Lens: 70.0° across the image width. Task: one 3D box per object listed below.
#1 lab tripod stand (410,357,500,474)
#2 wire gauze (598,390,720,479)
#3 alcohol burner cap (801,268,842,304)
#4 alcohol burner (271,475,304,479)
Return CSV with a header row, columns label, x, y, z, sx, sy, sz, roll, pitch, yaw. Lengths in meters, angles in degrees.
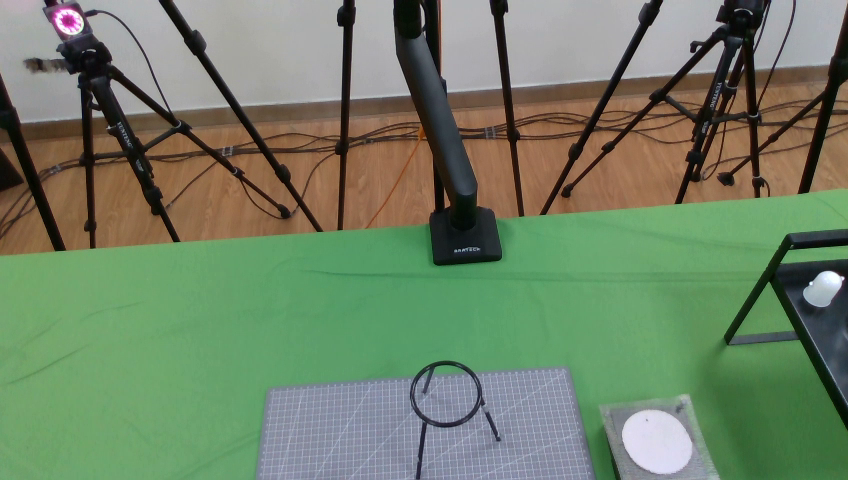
label,x,y,z,sx,sy,sz,roll,pitch,yaw
lab tripod stand,0.027,0.222,0.796,0.148,0.133,0.147,-2,50,3
wire gauze,0.300,0.255,0.779,0.125,0.011,0.120,-4,52,-1
alcohol burner cap,0.493,0.053,0.747,0.034,0.048,0.033,-2,52,2
alcohol burner,-0.173,0.319,0.734,0.078,0.120,0.077,-1,52,1
